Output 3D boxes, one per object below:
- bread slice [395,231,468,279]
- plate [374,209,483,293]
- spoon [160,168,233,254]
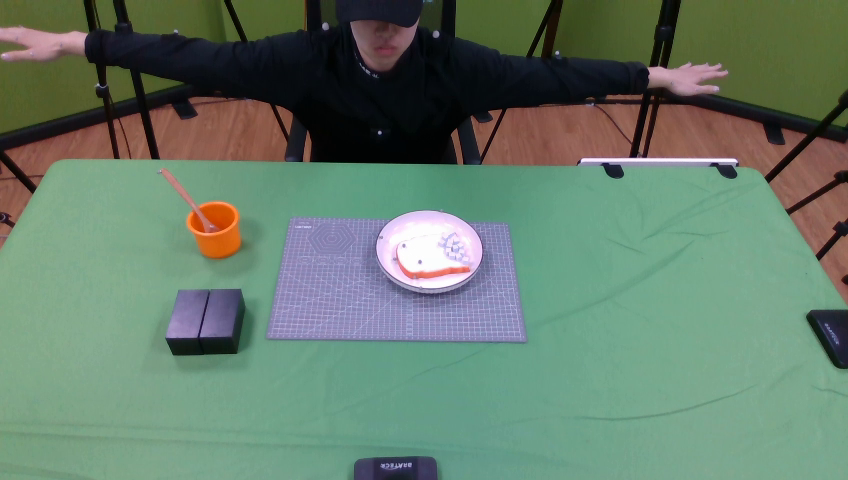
[{"bbox_3d":[0.011,0.030,1.158,0.132,0.019,0.104,-8,47,-14],"label":"bread slice"},{"bbox_3d":[0.009,0.024,1.160,0.209,0.038,0.208,2,46,-2],"label":"plate"},{"bbox_3d":[-0.424,-0.055,1.130,0.041,0.194,0.021,-42,18,-31],"label":"spoon"}]
